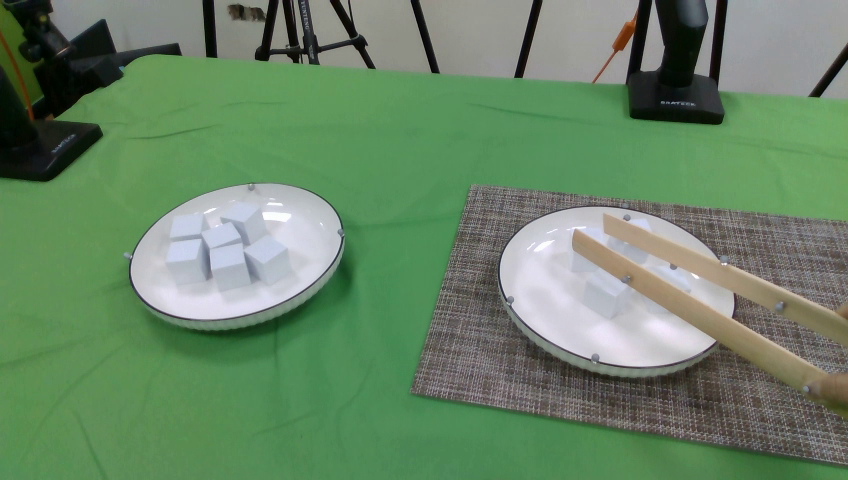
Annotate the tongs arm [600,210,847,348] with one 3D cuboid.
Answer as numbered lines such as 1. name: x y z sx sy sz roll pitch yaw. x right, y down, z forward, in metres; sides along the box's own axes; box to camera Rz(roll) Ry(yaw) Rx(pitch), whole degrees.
1. tongs arm: 0.269 0.065 0.429 0.051 0.027 0.381 -30 41 -28

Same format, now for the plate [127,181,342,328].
1. plate: -0.186 0.014 0.617 0.209 0.038 0.207 -1 41 1

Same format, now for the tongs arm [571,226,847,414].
1. tongs arm: 0.249 0.075 0.419 0.028 0.028 0.383 -24 38 -27

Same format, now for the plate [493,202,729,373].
1. plate: 0.167 0.042 0.563 0.207 0.039 0.205 -1 42 2
